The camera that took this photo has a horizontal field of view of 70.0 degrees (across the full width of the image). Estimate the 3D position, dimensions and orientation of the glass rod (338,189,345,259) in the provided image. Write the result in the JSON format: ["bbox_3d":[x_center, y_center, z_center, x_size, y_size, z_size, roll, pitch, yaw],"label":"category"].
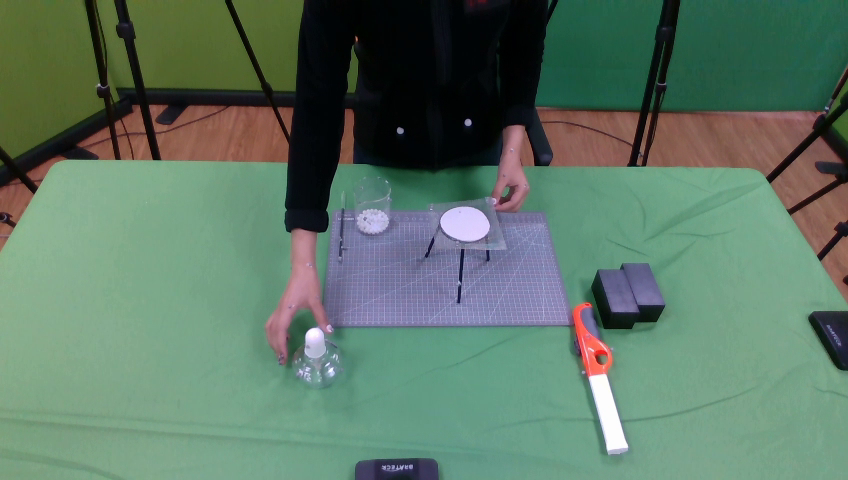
[{"bbox_3d":[-0.167,-0.036,1.226,0.008,0.008,0.198,-1,47,-4],"label":"glass rod"}]

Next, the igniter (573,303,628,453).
[{"bbox_3d":[0.288,0.217,1.006,0.057,0.025,0.274,-9,46,8],"label":"igniter"}]

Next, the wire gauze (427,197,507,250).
[{"bbox_3d":[0.073,-0.028,1.055,0.125,0.011,0.120,-3,48,-7],"label":"wire gauze"}]

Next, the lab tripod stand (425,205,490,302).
[{"bbox_3d":[0.068,0.017,1.105,0.148,0.132,0.147,3,47,-3],"label":"lab tripod stand"}]

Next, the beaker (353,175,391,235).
[{"bbox_3d":[-0.104,-0.064,1.195,0.074,0.101,0.084,24,50,18],"label":"beaker"}]

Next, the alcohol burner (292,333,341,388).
[{"bbox_3d":[-0.170,0.180,0.950,0.078,0.120,0.077,2,48,-2],"label":"alcohol burner"}]

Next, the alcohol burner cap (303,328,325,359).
[{"bbox_3d":[-0.169,0.154,0.924,0.034,0.048,0.033,4,41,-4],"label":"alcohol burner cap"}]
